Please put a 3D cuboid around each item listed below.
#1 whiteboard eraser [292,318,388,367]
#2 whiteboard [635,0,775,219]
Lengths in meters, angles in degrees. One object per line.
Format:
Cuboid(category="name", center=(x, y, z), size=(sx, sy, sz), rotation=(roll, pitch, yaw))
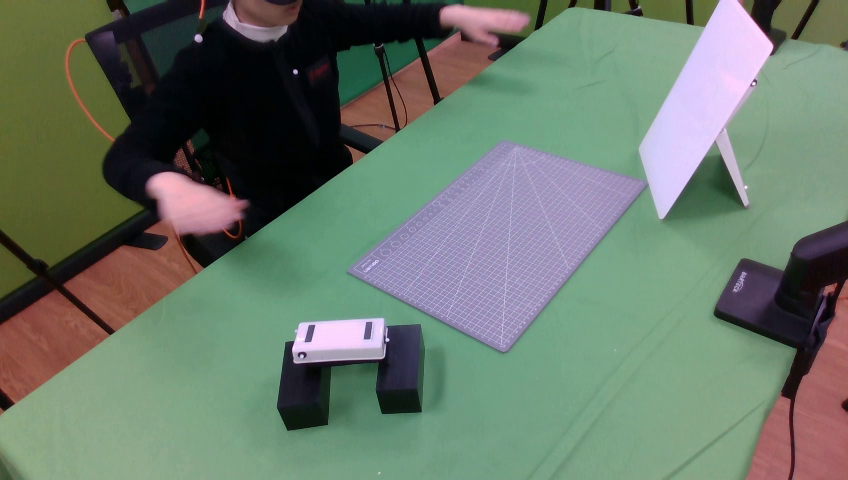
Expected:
Cuboid(category="whiteboard eraser", center=(-0.103, 0.128, 0.748), size=(0.113, 0.042, 0.055), rotation=(-3, 38, 2))
Cuboid(category="whiteboard", center=(0.486, -0.192, 0.956), size=(0.144, 0.305, 0.216), rotation=(14, 41, -4))
